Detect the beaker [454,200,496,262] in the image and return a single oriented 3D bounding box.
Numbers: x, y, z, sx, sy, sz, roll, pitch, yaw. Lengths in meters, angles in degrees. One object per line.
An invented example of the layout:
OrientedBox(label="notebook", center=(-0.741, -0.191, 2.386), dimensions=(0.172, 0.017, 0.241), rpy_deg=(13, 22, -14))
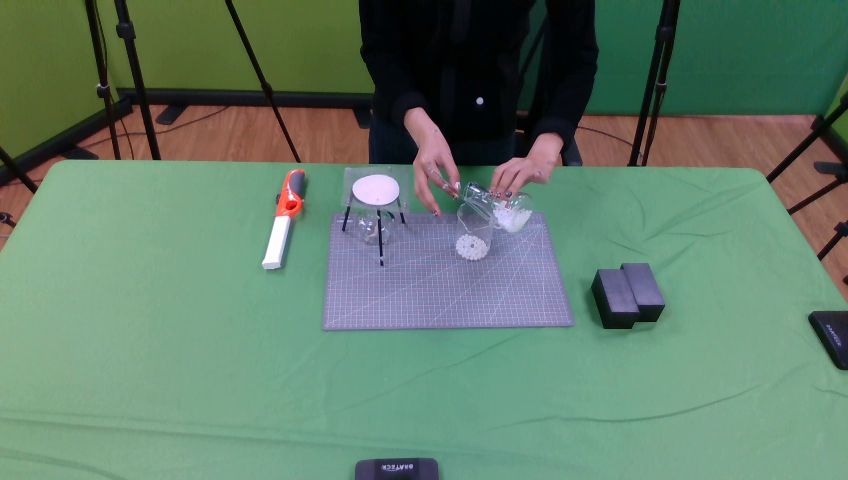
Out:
OrientedBox(label="beaker", center=(0.094, -0.013, 1.162), dimensions=(0.074, 0.101, 0.083), rpy_deg=(17, 48, 12))

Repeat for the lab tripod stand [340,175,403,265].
OrientedBox(label="lab tripod stand", center=(-0.094, -0.050, 1.160), dimensions=(0.148, 0.132, 0.147), rpy_deg=(2, 44, -2))

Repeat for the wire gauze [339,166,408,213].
OrientedBox(label="wire gauze", center=(-0.091, -0.096, 1.110), dimensions=(0.125, 0.011, 0.120), rpy_deg=(2, 45, -3))

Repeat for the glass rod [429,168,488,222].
OrientedBox(label="glass rod", center=(0.065, -0.077, 1.090), dimensions=(0.008, 0.201, 0.008), rpy_deg=(-18, 56, 29))

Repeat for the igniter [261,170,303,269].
OrientedBox(label="igniter", center=(-0.283, -0.050, 1.222), dimensions=(0.057, 0.025, 0.275), rpy_deg=(-4, 45, 6))

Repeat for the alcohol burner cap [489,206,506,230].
OrientedBox(label="alcohol burner cap", center=(0.152, -0.047, 1.241), dimensions=(0.034, 0.048, 0.033), rpy_deg=(2, 45, -2))

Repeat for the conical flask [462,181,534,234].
OrientedBox(label="conical flask", center=(0.123, -0.065, 1.056), dimensions=(0.121, 0.076, 0.075), rpy_deg=(29, 50, 35))

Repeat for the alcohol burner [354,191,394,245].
OrientedBox(label="alcohol burner", center=(-0.096, -0.048, 1.171), dimensions=(0.078, 0.119, 0.077), rpy_deg=(4, 45, -4))
